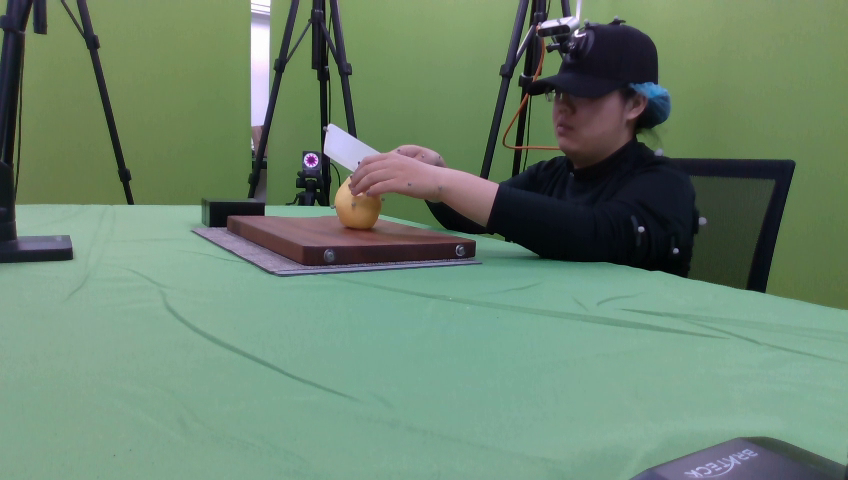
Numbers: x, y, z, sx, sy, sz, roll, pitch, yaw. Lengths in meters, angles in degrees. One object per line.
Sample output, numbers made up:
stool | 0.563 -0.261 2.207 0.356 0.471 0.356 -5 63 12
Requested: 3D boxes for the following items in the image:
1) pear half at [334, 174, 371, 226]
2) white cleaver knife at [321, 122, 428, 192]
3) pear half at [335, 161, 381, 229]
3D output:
pear half | -0.124 -0.067 1.003 0.031 0.088 0.071 10 18 42
white cleaver knife | -0.080 -0.126 1.042 0.021 0.066 0.288 -2 -13 35
pear half | -0.100 -0.072 0.976 0.055 0.110 0.077 10 14 42
